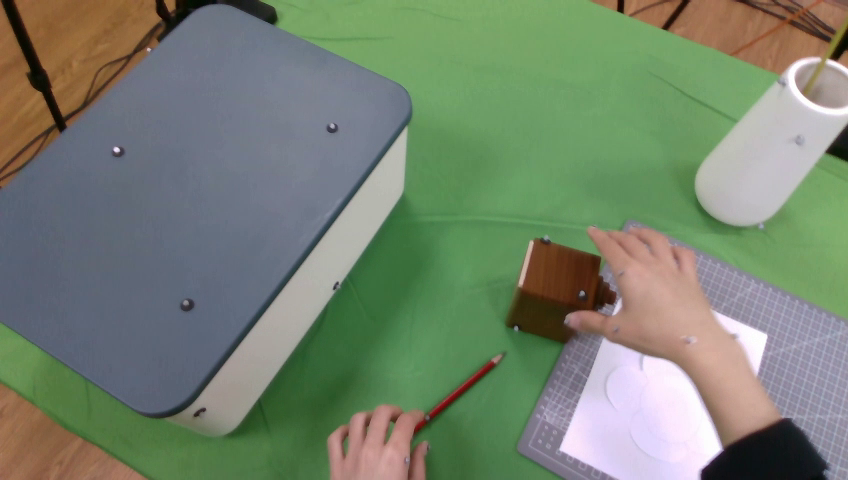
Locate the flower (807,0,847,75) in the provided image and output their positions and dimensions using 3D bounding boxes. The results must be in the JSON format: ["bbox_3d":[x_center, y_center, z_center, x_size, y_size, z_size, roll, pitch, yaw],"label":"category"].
[{"bbox_3d":[0.361,-0.153,0.571,0.044,0.364,0.038,20,47,13],"label":"flower"}]

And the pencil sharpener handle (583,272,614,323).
[{"bbox_3d":[0.176,0.060,0.591,0.030,0.068,0.035,15,57,7],"label":"pencil sharpener handle"}]

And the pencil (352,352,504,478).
[{"bbox_3d":[0.009,0.169,0.602,0.194,0.012,0.012,-34,68,-20],"label":"pencil"}]

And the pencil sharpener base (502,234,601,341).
[{"bbox_3d":[0.127,0.051,0.607,0.076,0.108,0.061,15,63,6],"label":"pencil sharpener base"}]

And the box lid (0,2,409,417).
[{"bbox_3d":[-0.206,-0.060,0.540,0.262,0.015,0.370,27,65,11],"label":"box lid"}]

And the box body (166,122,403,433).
[{"bbox_3d":[-0.208,-0.023,0.606,0.253,0.161,0.362,27,66,12],"label":"box body"}]

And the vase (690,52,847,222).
[{"bbox_3d":[0.360,-0.102,0.639,0.098,0.201,0.097,0,62,0],"label":"vase"}]
